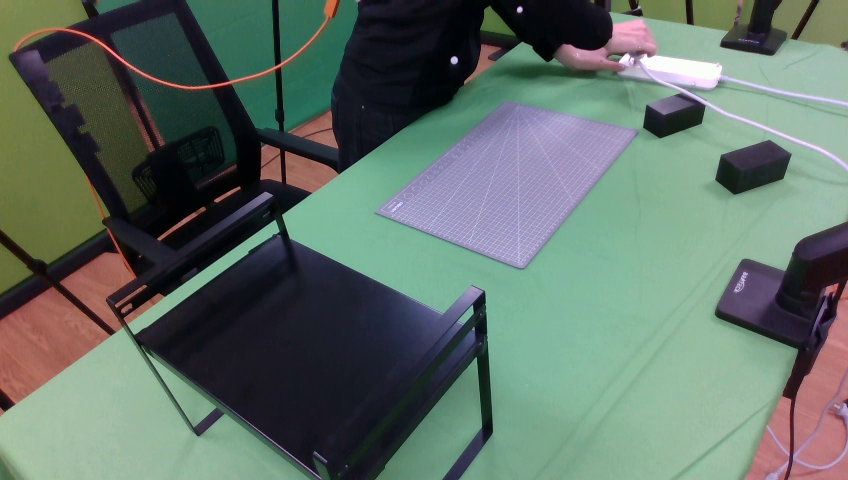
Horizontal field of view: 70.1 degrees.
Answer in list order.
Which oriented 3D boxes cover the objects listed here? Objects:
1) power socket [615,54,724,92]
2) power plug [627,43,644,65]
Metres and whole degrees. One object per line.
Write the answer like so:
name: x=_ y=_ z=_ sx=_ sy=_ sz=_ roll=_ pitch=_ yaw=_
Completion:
power socket: x=0.530 y=-0.367 z=1.316 sx=0.225 sy=0.033 sz=0.072 roll=19 pitch=48 yaw=27
power plug: x=0.446 y=-0.397 z=1.304 sx=0.073 sy=0.053 sz=0.035 roll=-29 pitch=60 yaw=-26
